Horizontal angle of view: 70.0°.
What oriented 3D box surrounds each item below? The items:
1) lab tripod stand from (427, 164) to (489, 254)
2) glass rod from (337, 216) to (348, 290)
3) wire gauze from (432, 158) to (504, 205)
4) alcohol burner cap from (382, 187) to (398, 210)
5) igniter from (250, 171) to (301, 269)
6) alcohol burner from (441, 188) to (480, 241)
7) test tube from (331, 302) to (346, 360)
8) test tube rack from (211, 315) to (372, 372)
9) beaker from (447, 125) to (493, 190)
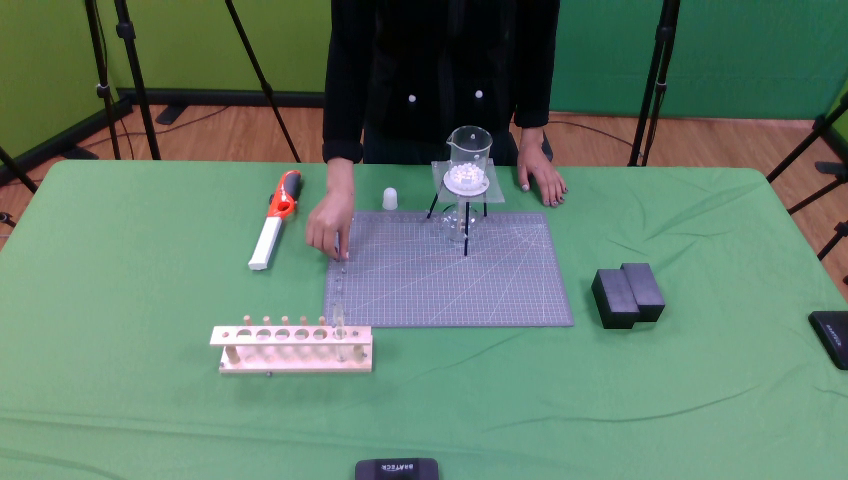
[{"bbox_3d":[0.078,-0.068,1.188,0.148,0.132,0.147,3,47,-3],"label":"lab tripod stand"},{"bbox_3d":[-0.158,0.021,1.171,0.008,0.008,0.198,1,44,-2],"label":"glass rod"},{"bbox_3d":[0.081,-0.111,1.138,0.125,0.011,0.120,0,48,-7],"label":"wire gauze"},{"bbox_3d":[-0.072,-0.090,1.266,0.034,0.048,0.033,2,46,-2],"label":"alcohol burner cap"},{"bbox_3d":[-0.297,-0.049,1.221,0.057,0.025,0.275,-2,45,8],"label":"igniter"},{"bbox_3d":[0.073,-0.055,1.189,0.078,0.120,0.077,1,48,-1],"label":"alcohol burner"},{"bbox_3d":[-0.132,0.144,0.938,0.017,0.151,0.017,2,49,-3],"label":"test tube"},{"bbox_3d":[-0.208,0.163,0.982,0.242,0.085,0.066,1,46,-4],"label":"test tube rack"},{"bbox_3d":[0.079,-0.148,1.106,0.084,0.101,0.073,-3,47,-7],"label":"beaker"}]
